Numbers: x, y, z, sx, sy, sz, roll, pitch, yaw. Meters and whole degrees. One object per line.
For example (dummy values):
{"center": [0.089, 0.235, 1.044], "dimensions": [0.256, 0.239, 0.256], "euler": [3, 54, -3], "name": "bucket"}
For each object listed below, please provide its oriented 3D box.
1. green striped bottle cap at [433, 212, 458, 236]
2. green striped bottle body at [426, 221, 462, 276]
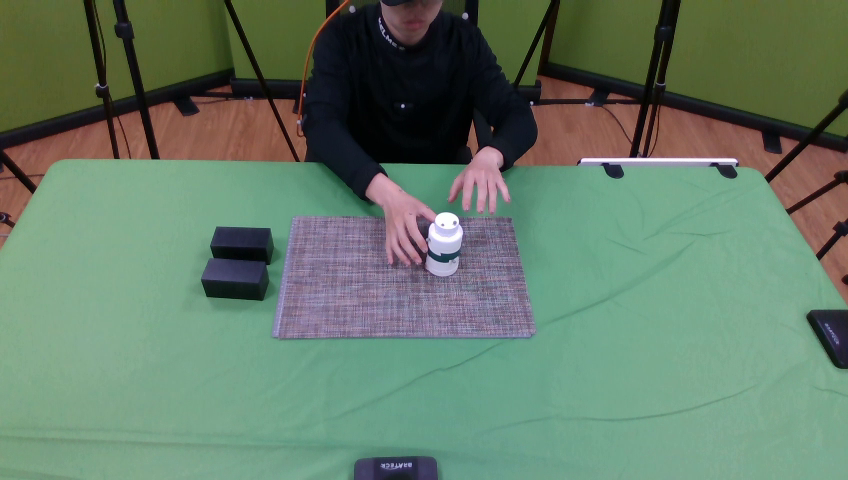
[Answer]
{"center": [0.039, -0.029, 1.085], "dimensions": [0.044, 0.020, 0.044], "euler": [4, 45, -3], "name": "green striped bottle cap"}
{"center": [0.037, 0.007, 1.122], "dimensions": [0.063, 0.120, 0.063], "euler": [2, 47, -2], "name": "green striped bottle body"}
